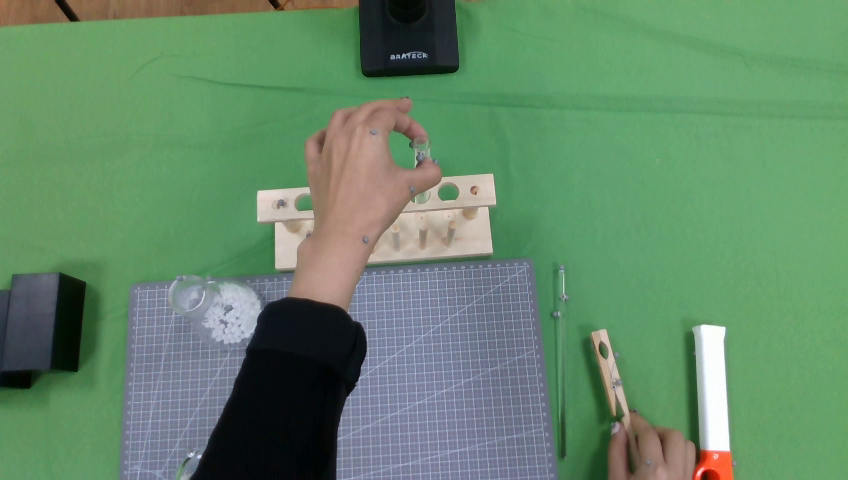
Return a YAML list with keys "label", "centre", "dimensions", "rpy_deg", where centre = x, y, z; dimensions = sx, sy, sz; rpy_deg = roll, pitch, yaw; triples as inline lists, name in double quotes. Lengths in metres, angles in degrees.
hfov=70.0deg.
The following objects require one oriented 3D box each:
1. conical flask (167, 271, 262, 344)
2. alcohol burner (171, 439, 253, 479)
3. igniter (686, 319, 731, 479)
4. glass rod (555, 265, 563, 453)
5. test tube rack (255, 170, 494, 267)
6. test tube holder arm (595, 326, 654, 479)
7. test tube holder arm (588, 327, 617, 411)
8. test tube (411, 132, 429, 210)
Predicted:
- label: "conical flask"
  centre: [-0.215, 0.062, 0.609]
  dimensions: [0.075, 0.122, 0.075]
  rpy_deg: [0, 75, 1]
- label: "alcohol burner"
  centre: [-0.206, 0.228, 0.571]
  dimensions: [0.078, 0.120, 0.077]
  rpy_deg: [-1, 74, 3]
- label: "igniter"
  centre: [0.292, 0.219, 0.617]
  dimensions: [0.057, 0.025, 0.275]
  rpy_deg: [8, 75, -14]
- label: "glass rod"
  centre: [0.145, 0.125, 0.652]
  dimensions: [0.008, 0.008, 0.199]
  rpy_deg: [3, 78, 1]
- label: "test tube rack"
  centre: [-0.049, -0.020, 0.652]
  dimensions: [0.242, 0.085, 0.066]
  rpy_deg: [-4, 75, -1]
- label: "test tube holder arm"
  centre: [0.207, 0.175, 0.626]
  dimensions: [0.013, 0.015, 0.177]
  rpy_deg: [-21, 73, 14]
- label: "test tube holder arm"
  centre: [0.191, 0.135, 0.640]
  dimensions: [0.010, 0.015, 0.087]
  rpy_deg: [-18, 73, 15]
- label: "test tube"
  centre: [-0.004, -0.061, 0.580]
  dimensions: [0.017, 0.151, 0.017]
  rpy_deg: [0, 71, -1]
